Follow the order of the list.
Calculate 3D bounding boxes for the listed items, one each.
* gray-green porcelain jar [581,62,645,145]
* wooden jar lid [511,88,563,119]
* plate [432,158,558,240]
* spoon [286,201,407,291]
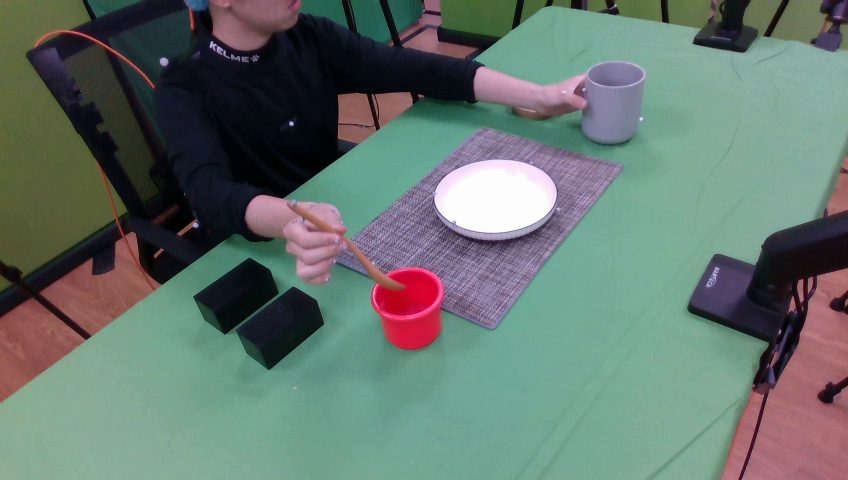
[{"bbox_3d":[0.351,-0.251,1.131,0.106,0.127,0.105,-4,41,4],"label":"gray-green porcelain jar"},{"bbox_3d":[0.237,-0.286,1.271,0.108,0.021,0.108,-5,42,5],"label":"wooden jar lid"},{"bbox_3d":[0.118,-0.066,1.013,0.207,0.039,0.206,-4,41,4],"label":"plate"},{"bbox_3d":[-0.091,0.011,0.733,0.041,0.195,0.021,5,57,55],"label":"spoon"}]
